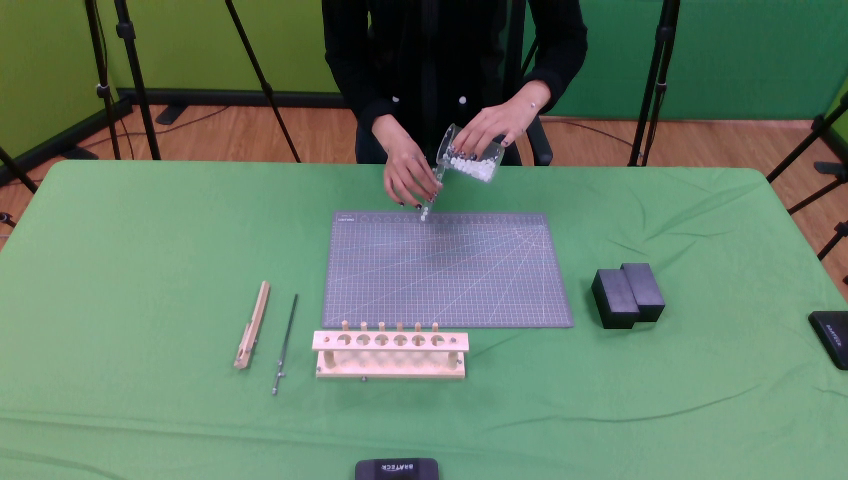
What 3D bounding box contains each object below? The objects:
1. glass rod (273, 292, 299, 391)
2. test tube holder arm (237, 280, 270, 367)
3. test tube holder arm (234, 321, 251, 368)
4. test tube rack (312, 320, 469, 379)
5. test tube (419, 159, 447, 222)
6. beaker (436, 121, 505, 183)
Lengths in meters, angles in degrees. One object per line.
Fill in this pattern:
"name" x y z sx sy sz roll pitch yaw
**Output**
"glass rod" -0.233 0.167 1.030 0.008 0.008 0.198 3 46 0
"test tube holder arm" -0.290 0.139 1.042 0.013 0.015 0.177 -17 42 22
"test tube holder arm" -0.299 0.173 1.013 0.010 0.015 0.087 -16 42 22
"test tube rack" -0.053 0.173 0.984 0.242 0.085 0.066 1 46 -3
"test tube" 0.015 -0.089 1.117 0.017 0.151 0.017 11 45 -10
"beaker" 0.080 -0.145 1.031 0.100 0.084 0.074 25 51 8
